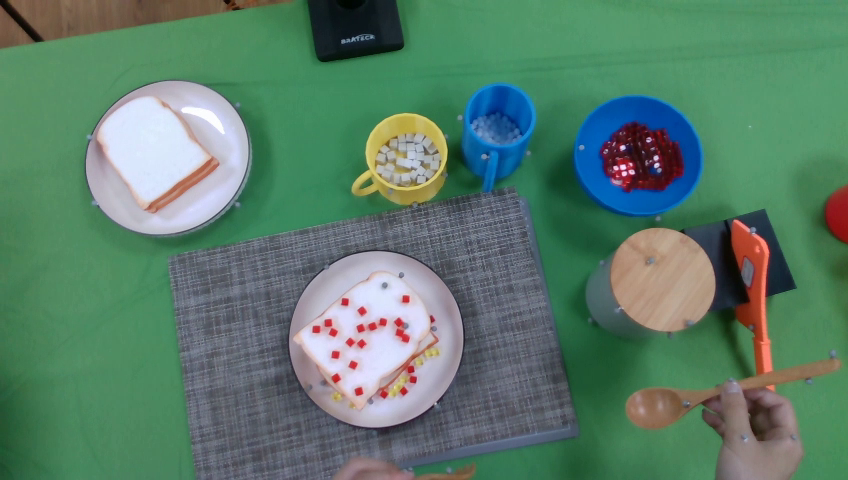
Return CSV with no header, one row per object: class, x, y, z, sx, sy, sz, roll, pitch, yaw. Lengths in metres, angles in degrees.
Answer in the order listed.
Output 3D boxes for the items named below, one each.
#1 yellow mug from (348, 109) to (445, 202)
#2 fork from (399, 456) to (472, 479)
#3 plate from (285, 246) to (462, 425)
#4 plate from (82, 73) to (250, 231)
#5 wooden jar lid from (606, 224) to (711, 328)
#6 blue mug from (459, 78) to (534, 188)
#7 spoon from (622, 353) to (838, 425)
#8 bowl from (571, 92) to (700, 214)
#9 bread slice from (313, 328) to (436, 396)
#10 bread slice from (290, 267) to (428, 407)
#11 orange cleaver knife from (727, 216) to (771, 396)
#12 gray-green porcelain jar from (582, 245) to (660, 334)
yellow mug,-0.037,-0.096,0.755,0.131,0.064,0.099,-31,79,-5
fork,0.002,0.210,0.533,0.028,0.209,0.018,-20,69,18
plate,-0.059,0.111,0.721,0.209,0.038,0.208,0,78,0
plate,-0.323,-0.110,0.773,0.208,0.039,0.206,0,78,0
wooden jar lid,0.242,0.038,0.630,0.108,0.021,0.108,0,80,-2
blue mug,0.083,-0.120,0.740,0.082,0.106,0.116,10,78,3
spoon,0.285,0.138,0.575,0.193,0.022,0.041,-23,53,26
bowl,0.249,-0.097,0.748,0.151,0.077,0.150,0,78,0
bread slice,-0.066,0.122,0.723,0.131,0.019,0.104,-42,79,-12
bread slice,-0.064,0.096,0.664,0.107,0.018,0.134,43,76,3
orange cleaver knife,0.378,0.078,0.708,0.012,0.077,0.212,-12,104,-2
gray-green porcelain jar,0.243,0.052,0.692,0.106,0.127,0.105,0,77,0
